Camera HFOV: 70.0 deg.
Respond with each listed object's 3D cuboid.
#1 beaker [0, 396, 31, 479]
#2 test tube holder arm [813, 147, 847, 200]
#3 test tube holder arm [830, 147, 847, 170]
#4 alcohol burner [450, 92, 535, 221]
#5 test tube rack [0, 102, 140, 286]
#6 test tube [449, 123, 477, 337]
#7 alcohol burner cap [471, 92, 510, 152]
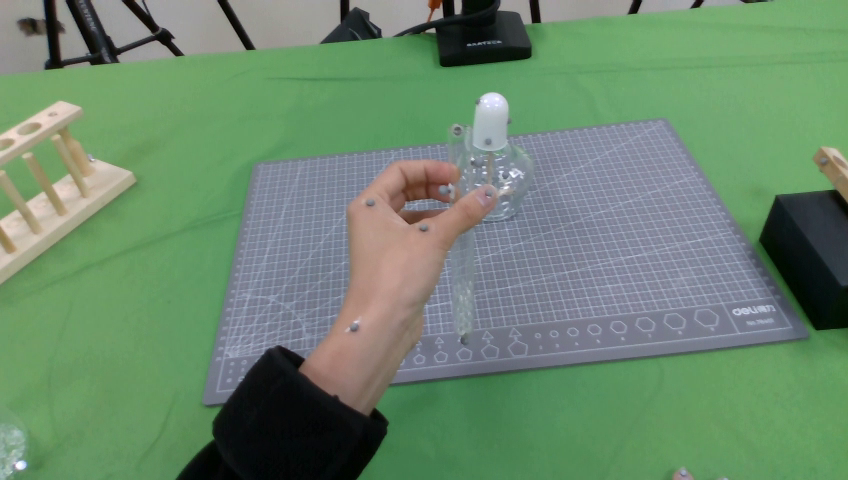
[{"bbox_3d":[-0.316,0.122,0.391,0.084,0.101,0.073,-24,46,-16],"label":"beaker"},{"bbox_3d":[0.334,-0.043,0.477,0.010,0.015,0.087,1,44,-5],"label":"test tube holder arm"},{"bbox_3d":[0.342,-0.012,0.446,0.013,0.015,0.176,1,44,-5],"label":"test tube holder arm"},{"bbox_3d":[0.061,-0.077,0.540,0.078,0.120,0.077,-4,42,4],"label":"alcohol burner"},{"bbox_3d":[-0.395,-0.026,0.562,0.066,0.086,0.241,19,49,24],"label":"test tube rack"},{"bbox_3d":[0.025,-0.001,0.389,0.017,0.151,0.017,-2,28,1],"label":"test tube"},{"bbox_3d":[0.058,-0.102,0.515,0.034,0.048,0.033,1,43,0],"label":"alcohol burner cap"}]
